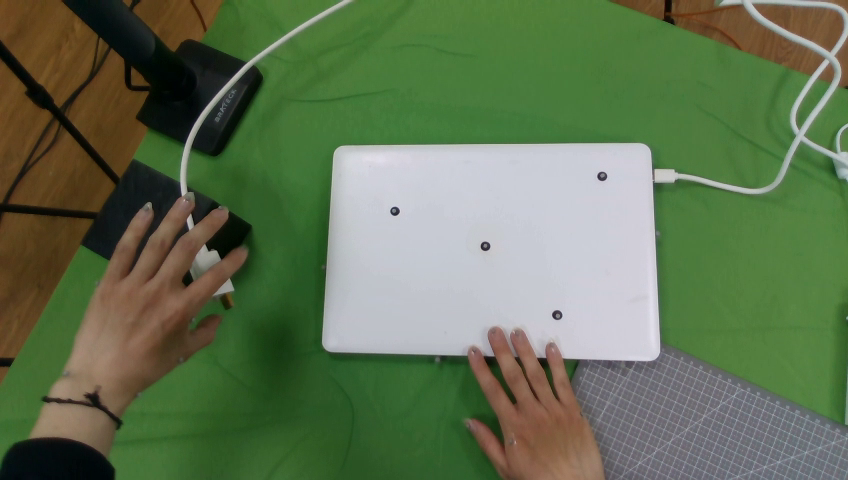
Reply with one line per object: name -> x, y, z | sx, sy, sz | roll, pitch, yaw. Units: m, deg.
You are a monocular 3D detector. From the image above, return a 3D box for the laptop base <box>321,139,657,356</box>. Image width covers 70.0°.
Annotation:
laptop base -> 0.067, 0.004, 0.664 | 0.354, 0.023, 0.234 | 0, 80, 6

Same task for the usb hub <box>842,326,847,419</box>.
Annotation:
usb hub -> 0.446, 0.118, 0.597 | 0.049, 0.025, 0.124 | 9, 79, 8

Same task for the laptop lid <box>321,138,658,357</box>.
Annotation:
laptop lid -> 0.066, 0.004, 0.650 | 0.356, 0.013, 0.240 | 2, 80, 6

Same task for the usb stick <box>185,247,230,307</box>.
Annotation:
usb stick -> -0.208, 0.038, 0.588 | 0.021, 0.027, 0.059 | -22, 88, 35
